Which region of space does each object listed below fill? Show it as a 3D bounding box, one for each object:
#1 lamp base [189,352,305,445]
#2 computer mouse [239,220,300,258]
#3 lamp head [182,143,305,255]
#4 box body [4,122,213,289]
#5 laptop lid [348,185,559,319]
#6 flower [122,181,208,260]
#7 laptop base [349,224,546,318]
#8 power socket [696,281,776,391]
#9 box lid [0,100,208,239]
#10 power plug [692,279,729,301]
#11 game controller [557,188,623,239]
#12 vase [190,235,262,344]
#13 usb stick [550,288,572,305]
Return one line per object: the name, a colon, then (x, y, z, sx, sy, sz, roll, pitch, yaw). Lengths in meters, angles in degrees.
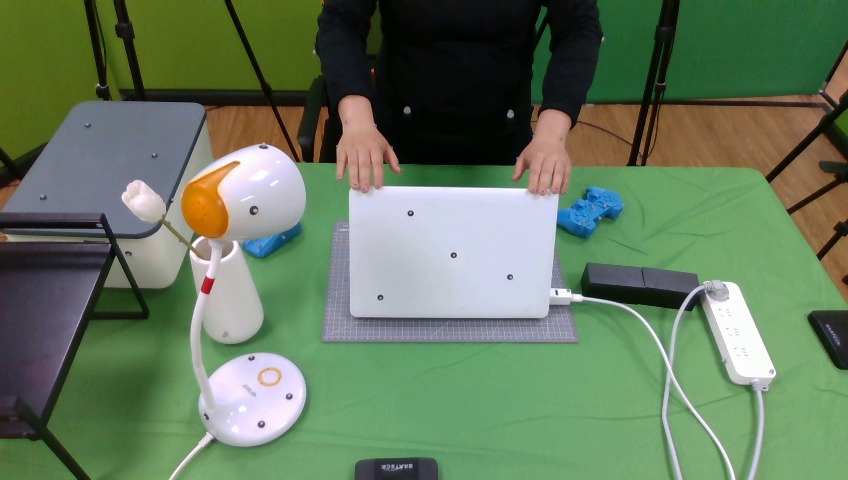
lamp base: (-0.268, 0.196, 0.876, 0.160, 0.181, 0.179, 25, 52, 20)
computer mouse: (-0.300, -0.016, 1.178, 0.062, 0.041, 0.117, 35, 58, 23)
lamp head: (-0.216, -0.044, 0.697, 0.112, 0.113, 0.123, 23, 31, 17)
box body: (-0.563, -0.088, 1.140, 0.254, 0.161, 0.361, 2, 46, -3)
laptop lid: (0.048, 0.024, 1.028, 0.357, 0.242, 0.013, 2, 16, -4)
flower: (-0.329, 0.029, 0.905, 0.038, 0.364, 0.044, -21, 58, -1)
laptop base: (0.040, 0.056, 1.149, 0.355, 0.023, 0.234, 1, 43, -4)
power socket: (0.550, 0.160, 1.078, 0.072, 0.033, 0.225, 2, 46, -1)
box lid: (-0.559, -0.138, 1.085, 0.263, 0.015, 0.369, 2, 46, -2)
power plug: (0.522, 0.092, 1.115, 0.072, 0.053, 0.035, 8, 46, 7)
game controller: (0.345, -0.065, 1.272, 0.155, 0.052, 0.096, -31, 58, -29)
vase: (-0.317, 0.081, 0.971, 0.098, 0.201, 0.097, 3, 47, -3)
usb stick: (0.236, 0.103, 1.101, 0.059, 0.027, 0.021, -1, 48, 1)
